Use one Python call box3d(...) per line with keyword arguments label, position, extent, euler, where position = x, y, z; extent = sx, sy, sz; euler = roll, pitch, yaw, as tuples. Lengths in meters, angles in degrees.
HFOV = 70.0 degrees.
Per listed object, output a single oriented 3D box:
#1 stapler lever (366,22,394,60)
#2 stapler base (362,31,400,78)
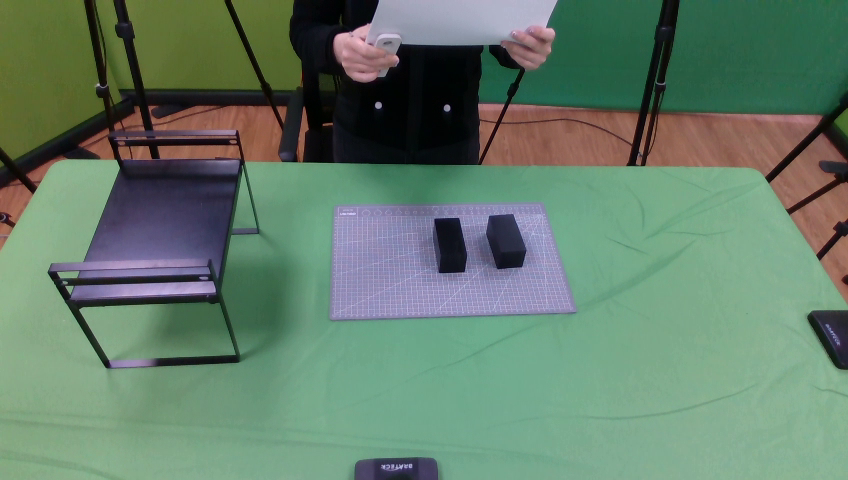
box3d(label="stapler lever", position=(-0.074, -0.327, 1.018), extent=(0.027, 0.118, 0.040), euler=(4, 85, -16))
box3d(label="stapler base", position=(-0.073, -0.314, 1.014), extent=(0.041, 0.130, 0.024), euler=(4, 73, -16))
